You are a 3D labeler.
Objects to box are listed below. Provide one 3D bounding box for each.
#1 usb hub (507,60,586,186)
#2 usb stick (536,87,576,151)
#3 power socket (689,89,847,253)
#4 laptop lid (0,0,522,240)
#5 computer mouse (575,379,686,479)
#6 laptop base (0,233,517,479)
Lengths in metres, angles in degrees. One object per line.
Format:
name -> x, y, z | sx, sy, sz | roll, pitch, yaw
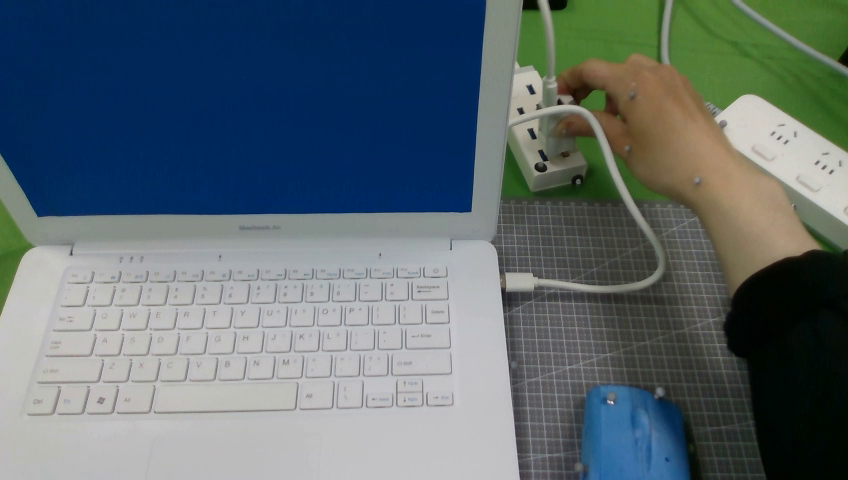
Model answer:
usb hub -> 0.094, -0.106, 0.534 | 0.049, 0.025, 0.124 | -13, 59, -9
usb stick -> 0.106, -0.092, 0.486 | 0.027, 0.060, 0.021 | -19, 53, -1
power socket -> 0.331, -0.047, 0.500 | 0.072, 0.033, 0.225 | -36, 65, -22
laptop lid -> -0.121, -0.084, 0.381 | 0.357, 0.244, 0.013 | -2, 45, -1
computer mouse -> 0.126, 0.140, 0.372 | 0.062, 0.041, 0.116 | 11, 54, 8
laptop base -> -0.119, 0.101, 0.404 | 0.354, 0.023, 0.233 | -1, 62, -2
